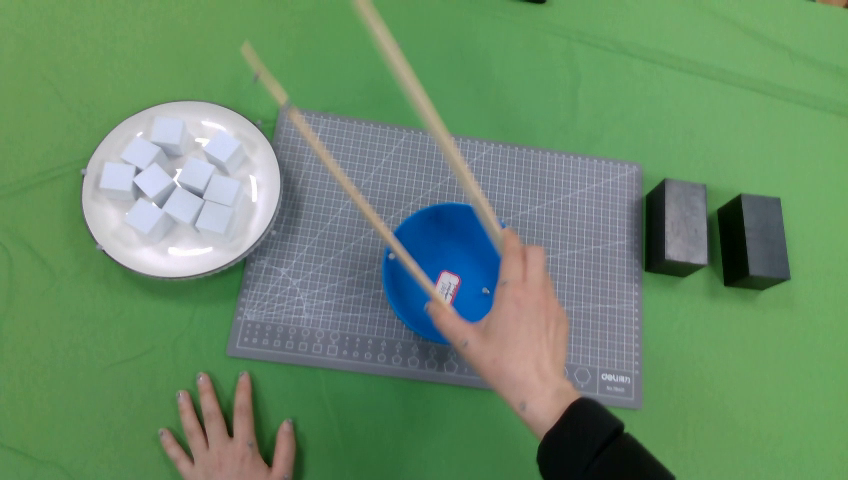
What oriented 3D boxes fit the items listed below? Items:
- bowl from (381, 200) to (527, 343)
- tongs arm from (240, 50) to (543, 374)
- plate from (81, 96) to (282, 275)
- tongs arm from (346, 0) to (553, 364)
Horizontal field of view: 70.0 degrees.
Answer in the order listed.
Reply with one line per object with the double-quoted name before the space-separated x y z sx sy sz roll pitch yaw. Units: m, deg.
"bowl" 0.027 0.041 0.645 0.151 0.077 0.150 2 72 -6
"tongs arm" -0.033 -0.030 0.540 0.051 0.026 0.383 -35 83 -15
"plate" -0.260 -0.058 0.666 0.208 0.039 0.206 2 72 -5
"tongs arm" 0.018 -0.064 0.555 0.028 0.028 0.386 -27 82 -17
